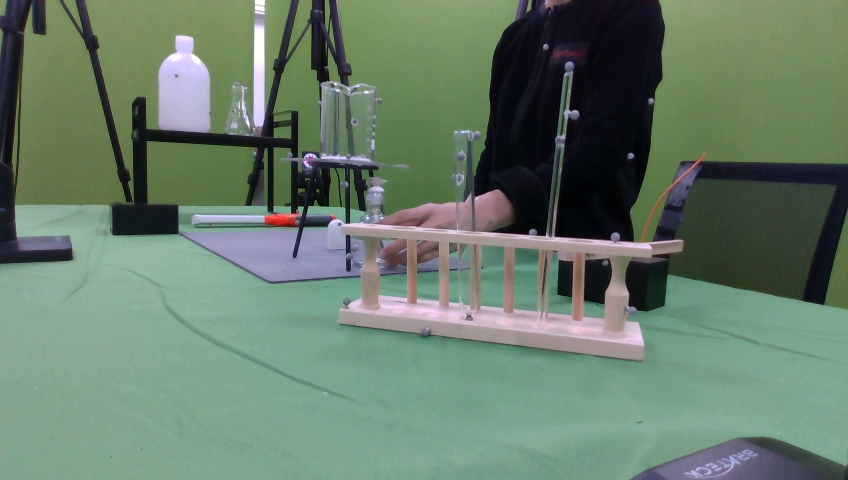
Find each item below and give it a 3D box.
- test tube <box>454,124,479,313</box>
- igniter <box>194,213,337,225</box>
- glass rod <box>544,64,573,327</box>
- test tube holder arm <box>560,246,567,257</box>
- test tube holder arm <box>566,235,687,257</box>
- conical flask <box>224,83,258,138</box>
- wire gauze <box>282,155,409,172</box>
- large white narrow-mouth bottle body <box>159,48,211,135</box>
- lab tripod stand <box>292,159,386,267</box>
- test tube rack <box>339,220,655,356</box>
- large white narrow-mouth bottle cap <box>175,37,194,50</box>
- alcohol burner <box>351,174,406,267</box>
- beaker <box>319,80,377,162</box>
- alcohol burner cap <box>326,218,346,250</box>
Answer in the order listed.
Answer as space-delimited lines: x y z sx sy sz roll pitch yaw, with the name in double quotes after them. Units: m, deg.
0.034 -0.015 0.477 0.017 0.150 0.017 -2 9 1 "test tube"
-0.306 -0.042 1.196 0.278 0.025 0.057 -2 -2 -31 "igniter"
0.101 -0.028 0.453 0.008 0.199 0.008 2 13 0 "glass rod"
0.173 0.007 0.611 0.088 0.015 0.010 -3 8 -30 "test tube holder arm"
0.215 0.006 0.630 0.179 0.015 0.013 -3 9 -31 "test tube holder arm"
-0.422 -0.299 1.395 0.075 0.122 0.075 2 7 0 "conical flask"
-0.104 -0.103 0.785 0.126 0.011 0.121 1 8 -39 "wire gauze"
-0.503 -0.323 1.275 0.102 0.194 0.102 2 7 0 "large white narrow-mouth bottle body"
-0.105 -0.039 0.797 0.148 0.131 0.148 2 5 0 "lab tripod stand"
0.056 0.032 0.495 0.242 0.085 0.067 4 7 15 "test tube rack"
-0.501 -0.409 1.264 0.038 0.024 0.037 2 7 0 "large white narrow-mouth bottle cap"
-0.061 -0.025 0.780 0.078 0.119 0.078 0 6 0 "alcohol burner"
-0.098 -0.150 0.777 0.074 0.100 0.084 1 7 -7 "beaker"
-0.133 -0.010 0.927 0.034 0.048 0.034 6 7 0 "alcohol burner cap"
